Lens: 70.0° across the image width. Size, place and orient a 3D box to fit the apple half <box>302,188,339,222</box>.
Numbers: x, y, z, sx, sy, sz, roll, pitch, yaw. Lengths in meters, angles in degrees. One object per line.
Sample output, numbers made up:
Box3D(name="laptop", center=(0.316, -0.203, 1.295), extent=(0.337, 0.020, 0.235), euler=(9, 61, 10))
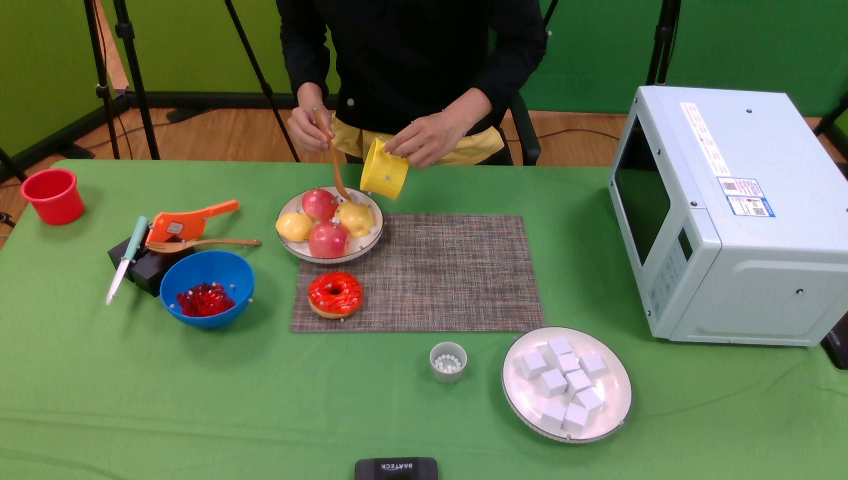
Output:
Box3D(name="apple half", center=(-0.205, -0.076, 1.217), extent=(0.081, 0.033, 0.081), euler=(18, 46, -20))

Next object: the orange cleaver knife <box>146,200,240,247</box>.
Box3D(name="orange cleaver knife", center=(-0.435, -0.033, 1.157), extent=(0.012, 0.077, 0.211), euler=(31, 26, 19))

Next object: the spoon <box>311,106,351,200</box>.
Box3D(name="spoon", center=(-0.169, -0.155, 1.111), extent=(0.021, 0.194, 0.041), euler=(-24, 31, -18))

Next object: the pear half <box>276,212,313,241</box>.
Box3D(name="pear half", center=(-0.244, -0.035, 1.178), extent=(0.070, 0.031, 0.088), euler=(40, 42, 1))

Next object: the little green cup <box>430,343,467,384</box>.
Box3D(name="little green cup", center=(0.039, 0.203, 0.993), extent=(0.061, 0.039, 0.061), euler=(2, 46, -2))

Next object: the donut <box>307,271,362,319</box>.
Box3D(name="donut", center=(-0.157, 0.097, 1.072), extent=(0.099, 0.048, 0.098), euler=(4, 45, -4))

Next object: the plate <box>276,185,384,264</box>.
Box3D(name="plate", center=(-0.184, -0.027, 1.195), extent=(0.209, 0.038, 0.208), euler=(2, 46, -2))

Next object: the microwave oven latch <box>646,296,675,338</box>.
Box3D(name="microwave oven latch", center=(0.412, 0.134, 1.061), extent=(0.030, 0.029, 0.078), euler=(4, 45, 1))

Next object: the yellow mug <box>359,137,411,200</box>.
Box3D(name="yellow mug", center=(-0.066, -0.137, 1.086), extent=(0.064, 0.131, 0.099), euler=(16, 59, -15))

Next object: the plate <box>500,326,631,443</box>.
Box3D(name="plate", center=(0.224, 0.234, 0.978), extent=(0.208, 0.039, 0.206), euler=(2, 46, -2))

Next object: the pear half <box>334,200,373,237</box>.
Box3D(name="pear half", center=(-0.146, -0.059, 1.210), extent=(0.076, 0.056, 0.109), euler=(-17, 43, -24))

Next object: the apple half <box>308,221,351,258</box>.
Box3D(name="apple half", center=(-0.180, -0.005, 1.150), extent=(0.074, 0.053, 0.080), euler=(14, 43, 8))

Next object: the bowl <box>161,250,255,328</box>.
Box3D(name="bowl", center=(-0.362, 0.097, 1.040), extent=(0.151, 0.077, 0.150), euler=(2, 45, -2))

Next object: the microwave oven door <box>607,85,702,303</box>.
Box3D(name="microwave oven door", center=(0.423, -0.094, 1.140), extent=(0.039, 0.245, 0.353), euler=(2, 46, -1))

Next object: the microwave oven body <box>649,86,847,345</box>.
Box3D(name="microwave oven body", center=(0.568, -0.053, 1.118), extent=(0.326, 0.261, 0.439), euler=(2, 45, -1))

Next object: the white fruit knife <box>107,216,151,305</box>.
Box3D(name="white fruit knife", center=(-0.518, 0.032, 1.066), extent=(0.027, 0.016, 0.206), euler=(-19, 45, 19))

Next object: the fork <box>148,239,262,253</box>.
Box3D(name="fork", center=(-0.398, 0.008, 1.117), extent=(0.208, 0.019, 0.028), euler=(-5, 34, -37))
